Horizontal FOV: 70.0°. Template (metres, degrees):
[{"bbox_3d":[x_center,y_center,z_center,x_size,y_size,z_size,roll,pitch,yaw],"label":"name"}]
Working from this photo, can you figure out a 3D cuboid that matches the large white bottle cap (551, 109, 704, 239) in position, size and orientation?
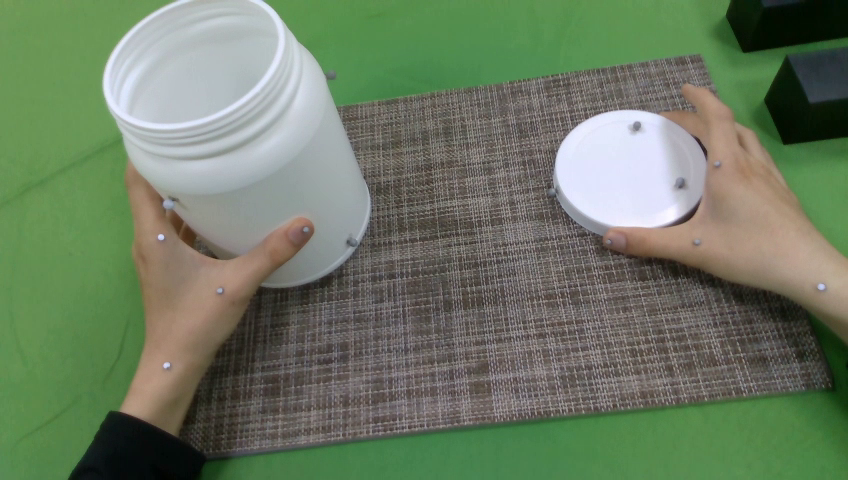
[{"bbox_3d":[0.158,-0.054,0.476,0.115,0.018,0.114,-3,61,6],"label":"large white bottle cap"}]

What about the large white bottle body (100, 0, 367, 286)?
[{"bbox_3d":[-0.121,-0.061,0.422,0.130,0.186,0.129,-4,61,7],"label":"large white bottle body"}]
